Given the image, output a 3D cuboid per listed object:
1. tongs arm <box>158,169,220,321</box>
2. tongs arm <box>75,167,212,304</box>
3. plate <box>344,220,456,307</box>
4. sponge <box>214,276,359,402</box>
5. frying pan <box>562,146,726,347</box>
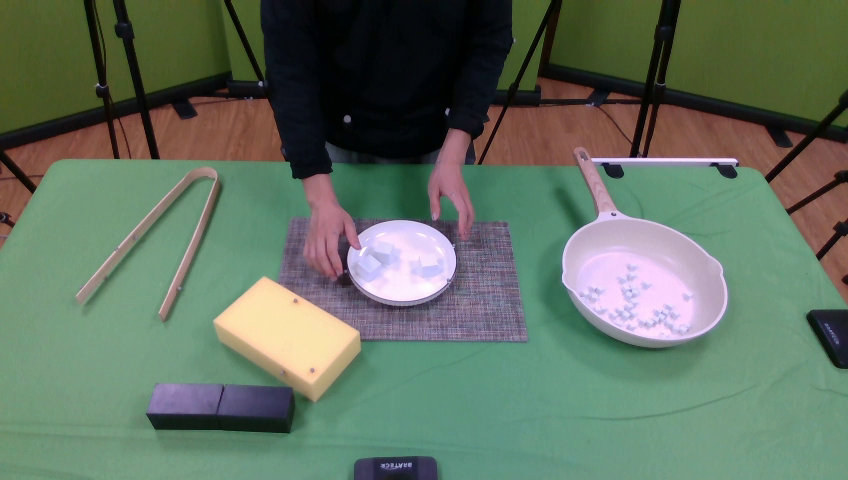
[{"bbox_3d":[-0.446,-0.005,1.164,0.028,0.028,0.385,1,46,0],"label":"tongs arm"},{"bbox_3d":[-0.525,-0.021,1.167,0.051,0.026,0.383,13,46,7],"label":"tongs arm"},{"bbox_3d":[-0.044,0.047,1.133,0.208,0.039,0.206,3,46,-2],"label":"plate"},{"bbox_3d":[-0.224,0.158,0.998,0.206,0.061,0.118,27,52,18],"label":"sponge"},{"bbox_3d":[0.378,-0.005,1.175,0.307,0.103,0.484,-4,55,-10],"label":"frying pan"}]
